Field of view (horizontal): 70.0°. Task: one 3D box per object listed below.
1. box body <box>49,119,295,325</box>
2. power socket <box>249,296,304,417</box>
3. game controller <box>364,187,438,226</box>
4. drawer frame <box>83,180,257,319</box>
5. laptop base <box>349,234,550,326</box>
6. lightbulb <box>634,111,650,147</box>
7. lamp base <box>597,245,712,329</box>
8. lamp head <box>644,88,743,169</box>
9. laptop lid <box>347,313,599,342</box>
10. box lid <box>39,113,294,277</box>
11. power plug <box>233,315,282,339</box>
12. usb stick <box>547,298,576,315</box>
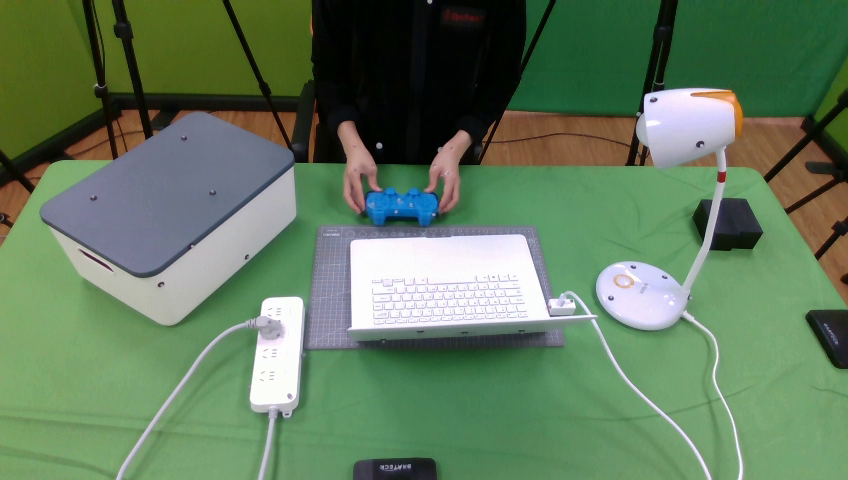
[{"bbox_3d":[-0.437,-0.046,1.110,0.253,0.161,0.363,24,49,18],"label":"box body"},{"bbox_3d":[-0.239,0.182,0.996,0.072,0.033,0.225,-2,47,-5],"label":"power socket"},{"bbox_3d":[-0.047,-0.076,1.235,0.155,0.052,0.096,1,47,-3],"label":"game controller"},{"bbox_3d":[-0.454,0.010,1.099,0.201,0.083,0.213,27,54,23],"label":"drawer frame"},{"bbox_3d":[0.039,0.080,1.125,0.355,0.023,0.234,-2,43,-6],"label":"laptop base"},{"bbox_3d":[0.348,-0.163,0.852,0.059,0.060,0.107,-36,19,-32],"label":"lightbulb"},{"bbox_3d":[0.418,0.051,1.071,0.179,0.181,0.160,22,49,13],"label":"lamp base"},{"bbox_3d":[0.380,-0.161,0.851,0.122,0.113,0.112,-4,42,25],"label":"lamp head"},{"bbox_3d":[0.062,0.137,0.932,0.357,0.242,0.013,-2,77,-8],"label":"laptop lid"},{"bbox_3d":[-0.435,-0.096,1.056,0.262,0.015,0.370,25,48,18],"label":"box lid"},{"bbox_3d":[-0.271,0.144,1.000,0.072,0.053,0.035,5,47,3],"label":"power plug"},{"bbox_3d":[0.240,0.119,1.086,0.059,0.027,0.021,-2,52,-1],"label":"usb stick"}]
